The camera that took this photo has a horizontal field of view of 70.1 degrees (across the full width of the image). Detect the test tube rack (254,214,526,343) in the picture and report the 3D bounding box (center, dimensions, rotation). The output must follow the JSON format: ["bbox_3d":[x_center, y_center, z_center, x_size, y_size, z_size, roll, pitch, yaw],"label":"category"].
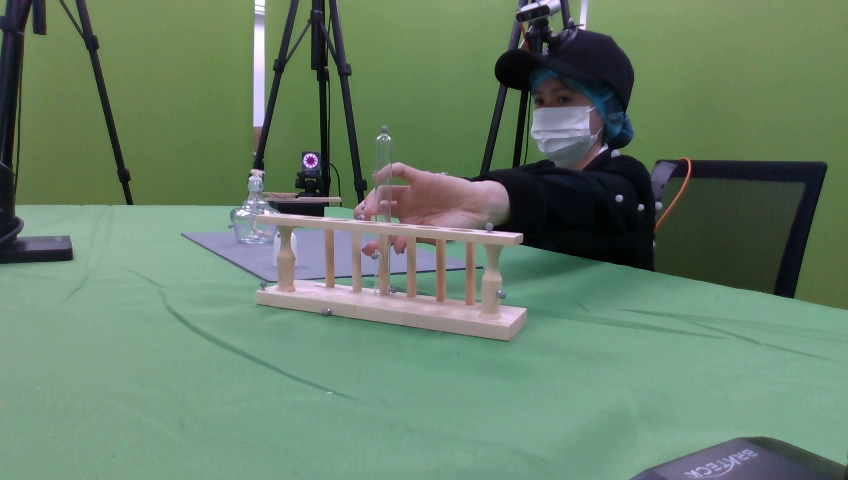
[{"bbox_3d":[-0.032,0.027,0.546,0.241,0.085,0.067,5,7,21],"label":"test tube rack"}]

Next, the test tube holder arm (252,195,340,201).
[{"bbox_3d":[-0.260,-0.087,1.242,0.179,0.013,0.015,-1,7,-25],"label":"test tube holder arm"}]

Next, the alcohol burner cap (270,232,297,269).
[{"bbox_3d":[-0.175,0.012,0.760,0.034,0.048,0.034,2,8,0],"label":"alcohol burner cap"}]

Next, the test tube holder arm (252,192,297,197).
[{"bbox_3d":[-0.301,-0.092,1.223,0.088,0.010,0.015,0,7,-25],"label":"test tube holder arm"}]

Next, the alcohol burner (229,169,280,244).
[{"bbox_3d":[-0.268,-0.053,0.958,0.078,0.119,0.078,2,6,0],"label":"alcohol burner"}]

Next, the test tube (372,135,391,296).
[{"bbox_3d":[-0.040,-0.021,0.559,0.017,0.150,0.017,2,10,0],"label":"test tube"}]

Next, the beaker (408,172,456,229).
[{"bbox_3d":[0.016,-0.067,1.098,0.074,0.100,0.084,-10,10,4],"label":"beaker"}]
